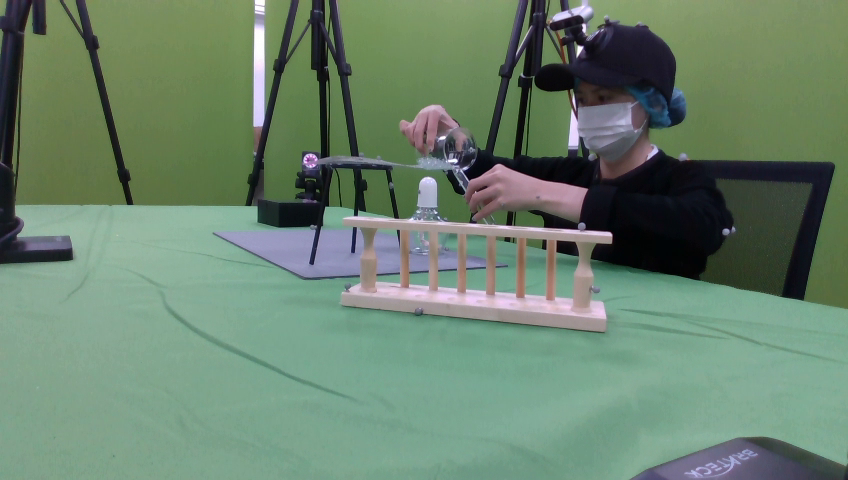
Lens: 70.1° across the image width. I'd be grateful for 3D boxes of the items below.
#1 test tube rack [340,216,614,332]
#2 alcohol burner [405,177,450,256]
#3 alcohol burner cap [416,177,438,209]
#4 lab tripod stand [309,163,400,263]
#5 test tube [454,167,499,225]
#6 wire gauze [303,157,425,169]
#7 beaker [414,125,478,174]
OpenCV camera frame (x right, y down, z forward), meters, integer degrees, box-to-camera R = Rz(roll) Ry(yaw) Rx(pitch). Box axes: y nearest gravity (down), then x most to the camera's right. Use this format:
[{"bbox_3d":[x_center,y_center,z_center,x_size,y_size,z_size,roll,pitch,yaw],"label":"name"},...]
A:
[{"bbox_3d":[0.048,0.026,0.568,0.242,0.085,0.067,4,8,13],"label":"test tube rack"},{"bbox_3d":[0.004,-0.036,0.917,0.078,0.119,0.078,3,5,0],"label":"alcohol burner"},{"bbox_3d":[0.005,-0.072,0.914,0.034,0.048,0.034,3,10,0],"label":"alcohol burner cap"},{"bbox_3d":[-0.091,-0.037,0.813,0.148,0.131,0.148,1,6,0],"label":"lab tripod stand"},{"bbox_3d":[0.084,-0.068,0.982,0.017,0.017,0.149,-2,44,-29],"label":"test tube"},{"bbox_3d":[-0.082,-0.102,0.799,0.126,0.011,0.121,-1,7,-30],"label":"wire gauze"},{"bbox_3d":[0.035,-0.156,1.067,0.074,0.084,0.100,6,0,-35],"label":"beaker"}]
